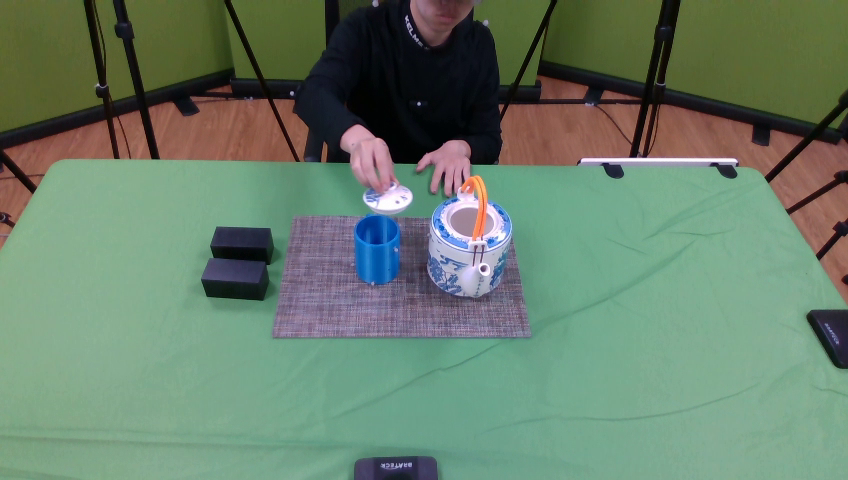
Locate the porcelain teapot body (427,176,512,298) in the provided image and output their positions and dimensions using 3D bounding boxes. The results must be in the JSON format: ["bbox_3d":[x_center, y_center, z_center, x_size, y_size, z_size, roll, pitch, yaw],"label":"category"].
[{"bbox_3d":[0.085,0.009,1.051,0.145,0.226,0.204,-5,47,-8],"label":"porcelain teapot body"}]

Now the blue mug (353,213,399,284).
[{"bbox_3d":[-0.093,0.006,1.123,0.082,0.106,0.115,-12,48,-15],"label":"blue mug"}]

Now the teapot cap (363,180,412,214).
[{"bbox_3d":[-0.062,-0.078,1.037,0.085,0.044,0.084,1,37,-1],"label":"teapot cap"}]
